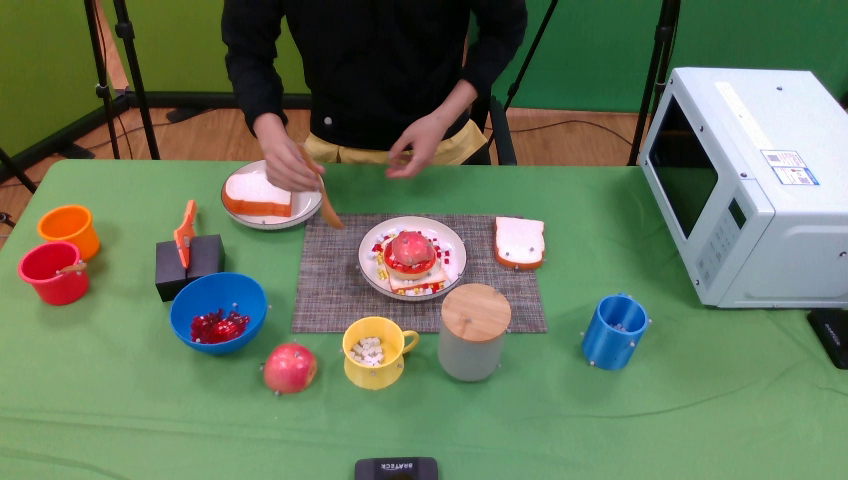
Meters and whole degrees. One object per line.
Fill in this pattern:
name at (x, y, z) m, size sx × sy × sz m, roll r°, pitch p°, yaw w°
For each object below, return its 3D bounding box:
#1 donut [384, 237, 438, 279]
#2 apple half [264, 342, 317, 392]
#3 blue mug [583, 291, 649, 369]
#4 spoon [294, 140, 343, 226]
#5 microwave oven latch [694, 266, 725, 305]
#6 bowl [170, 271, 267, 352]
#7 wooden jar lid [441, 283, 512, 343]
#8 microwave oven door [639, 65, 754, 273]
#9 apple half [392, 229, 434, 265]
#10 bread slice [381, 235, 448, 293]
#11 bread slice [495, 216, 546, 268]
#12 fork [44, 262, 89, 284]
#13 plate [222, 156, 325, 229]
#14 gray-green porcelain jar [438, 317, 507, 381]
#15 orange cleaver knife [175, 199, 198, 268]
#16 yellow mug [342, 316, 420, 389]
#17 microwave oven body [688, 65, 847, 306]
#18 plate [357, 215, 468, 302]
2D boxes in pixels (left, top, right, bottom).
donut at (-0.025, 0.029, 1.110) m, size 0.099 × 0.048 × 0.098 m, roll 3°, pitch 46°, yaw -3°
apple half at (-0.214, 0.198, 0.970) m, size 0.074 × 0.053 × 0.080 m, roll 19°, pitch 48°, yaw 11°
blue mug at (0.324, 0.142, 1.023) m, size 0.082 × 0.106 × 0.116 m, roll 15°, pitch 47°, yaw 11°
spoon at (-0.177, -0.090, 1.011) m, size 0.041 × 0.195 × 0.021 m, roll 17°, pitch 51°, yaw 31°
microwave oven latch at (0.523, 0.082, 1.115) m, size 0.030 × 0.029 × 0.078 m, roll 3°, pitch 46°, yaw 0°
bowl at (-0.333, 0.132, 1.006) m, size 0.151 × 0.077 × 0.150 m, roll 2°, pitch 46°, yaw -2°
wooden jar lid at (0.080, 0.114, 0.931) m, size 0.108 × 0.021 × 0.107 m, roll 1°, pitch 49°, yaw -1°
microwave oven door at (0.522, -0.147, 1.192) m, size 0.039 × 0.245 × 0.353 m, roll 0°, pitch 47°, yaw -3°
apple half at (-0.020, 0.005, 1.083) m, size 0.081 × 0.033 × 0.081 m, roll 6°, pitch 48°, yaw -7°
bread slice at (-0.027, 0.041, 1.142) m, size 0.107 × 0.018 × 0.133 m, roll -12°, pitch 51°, yaw -15°
bread slice at (0.194, 0.002, 1.205) m, size 0.105 × 0.019 × 0.131 m, roll 5°, pitch 45°, yaw 2°
fork at (-0.599, 0.054, 1.014) m, size 0.207 × 0.019 × 0.028 m, roll -15°, pitch 29°, yaw 45°
plate at (-0.308, -0.095, 1.251) m, size 0.209 × 0.038 × 0.208 m, roll 2°, pitch 46°, yaw -2°
gray-green porcelain jar at (0.076, 0.158, 0.977) m, size 0.106 × 0.127 × 0.105 m, roll 2°, pitch 47°, yaw -2°
orange cleaver knife at (-0.438, -0.017, 1.138) m, size 0.012 × 0.077 × 0.210 m, roll -13°, pitch 27°, yaw -7°
yellow mug at (-0.067, 0.178, 0.991) m, size 0.131 × 0.064 × 0.099 m, roll -16°, pitch 49°, yaw -19°
microwave oven body at (0.669, -0.111, 1.176) m, size 0.326 × 0.261 × 0.439 m, roll 0°, pitch 46°, yaw -3°
plate at (-0.022, 0.037, 1.141) m, size 0.208 × 0.039 × 0.206 m, roll 2°, pitch 46°, yaw -2°
